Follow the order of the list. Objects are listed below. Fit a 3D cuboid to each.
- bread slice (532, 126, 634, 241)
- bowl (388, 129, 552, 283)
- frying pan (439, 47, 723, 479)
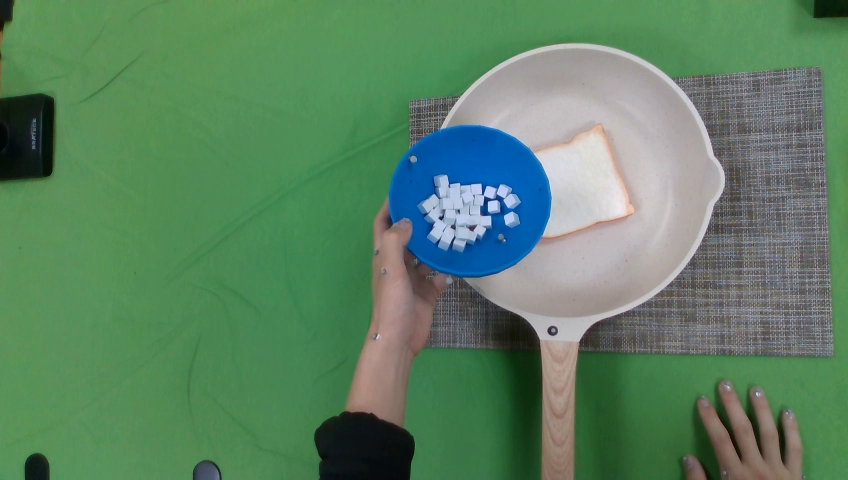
[{"bbox_3d":[0.154,-0.051,0.680,0.134,0.018,0.106,-23,81,9],"label":"bread slice"},{"bbox_3d":[0.043,-0.023,0.586,0.151,0.077,0.150,0,71,2],"label":"bowl"},{"bbox_3d":[0.143,0.046,0.635,0.306,0.103,0.485,1,78,16],"label":"frying pan"}]
